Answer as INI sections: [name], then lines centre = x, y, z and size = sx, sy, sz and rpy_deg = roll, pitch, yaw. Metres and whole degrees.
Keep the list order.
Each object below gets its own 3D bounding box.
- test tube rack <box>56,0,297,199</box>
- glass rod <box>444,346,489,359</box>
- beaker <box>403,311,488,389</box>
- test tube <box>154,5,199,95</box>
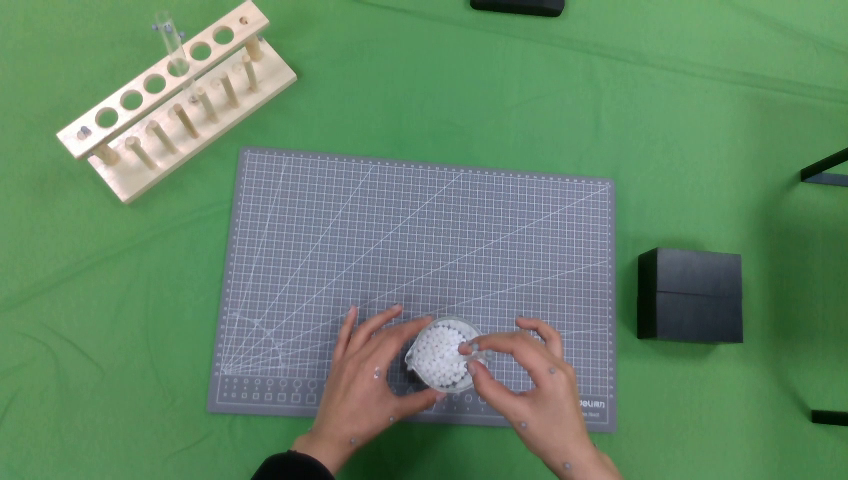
[test tube rack]
centre = -0.260, -0.154, 0.664
size = 0.242, 0.085, 0.066
rpy_deg = -40, 85, -12
[glass rod]
centre = 0.037, 0.105, 0.561
size = 0.008, 0.200, 0.008
rpy_deg = 1, 78, -6
[beaker]
centre = 0.018, 0.117, 0.633
size = 0.084, 0.100, 0.073
rpy_deg = -6, 79, -7
[test tube]
centre = -0.250, -0.190, 0.621
size = 0.017, 0.150, 0.017
rpy_deg = 3, 75, -9
